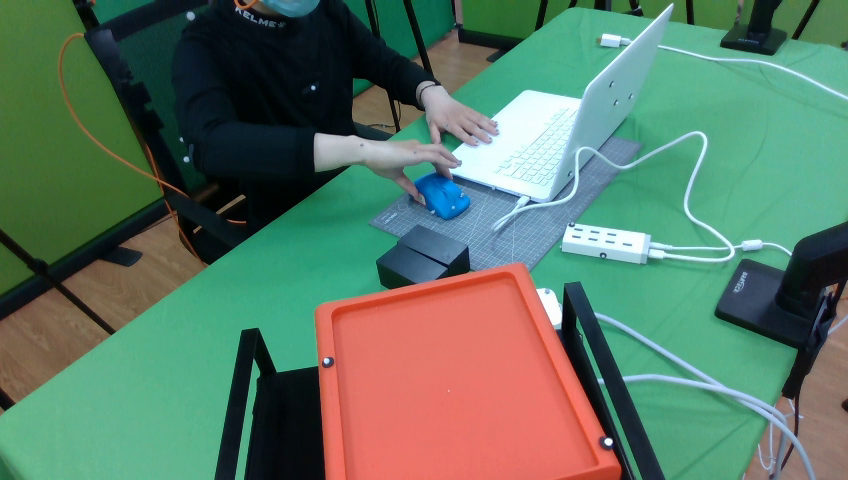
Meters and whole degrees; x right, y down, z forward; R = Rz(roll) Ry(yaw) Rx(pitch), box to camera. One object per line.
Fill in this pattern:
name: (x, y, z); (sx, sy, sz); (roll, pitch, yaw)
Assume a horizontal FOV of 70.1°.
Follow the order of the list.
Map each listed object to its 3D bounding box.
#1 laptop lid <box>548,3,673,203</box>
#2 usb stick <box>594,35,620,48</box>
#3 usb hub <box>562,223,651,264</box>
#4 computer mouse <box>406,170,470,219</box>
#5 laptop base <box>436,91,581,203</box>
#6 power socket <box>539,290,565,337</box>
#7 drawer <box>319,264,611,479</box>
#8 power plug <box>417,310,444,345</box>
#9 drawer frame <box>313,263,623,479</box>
laptop lid: (0.320, -0.235, 1.026); (0.013, 0.242, 0.357); (31, 50, 20)
usb stick: (0.443, -0.482, 1.466); (0.059, 0.021, 0.027); (10, 43, 10)
usb hub: (0.279, 0.005, 0.926); (0.124, 0.025, 0.049); (10, 43, 19)
computer mouse: (0.024, -0.083, 1.049); (0.063, 0.041, 0.116); (-30, 51, -27)
laptop base: (0.215, -0.192, 1.172); (0.233, 0.023, 0.355); (19, 46, 32)
power socket: (0.081, 0.112, 0.822); (0.227, 0.033, 0.072); (-6, 41, 0)
drawer: (0.020, 0.129, 0.497); (0.195, 0.073, 0.210); (-11, 41, -5)
power plug: (0.007, 0.122, 0.785); (0.035, 0.053, 0.072); (1, 39, 7)
drawer frame: (0.021, 0.130, 0.494); (0.202, 0.083, 0.212); (-11, 41, -6)
